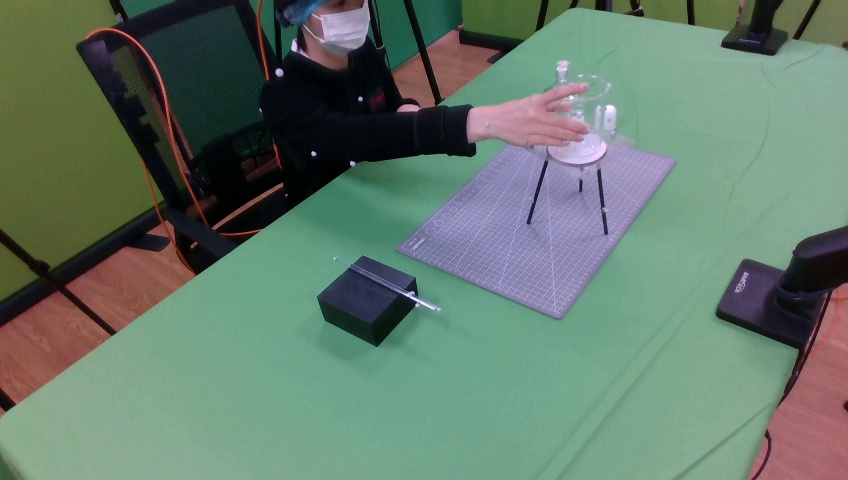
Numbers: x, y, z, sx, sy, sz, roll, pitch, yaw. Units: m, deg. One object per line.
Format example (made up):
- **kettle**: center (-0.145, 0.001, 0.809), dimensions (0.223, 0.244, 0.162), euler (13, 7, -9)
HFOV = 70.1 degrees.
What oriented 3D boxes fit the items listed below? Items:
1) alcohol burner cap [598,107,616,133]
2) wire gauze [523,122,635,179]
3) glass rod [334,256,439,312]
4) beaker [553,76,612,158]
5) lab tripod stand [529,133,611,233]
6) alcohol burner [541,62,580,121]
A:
- **alcohol burner cap**: center (0.361, -0.239, 1.189), dimensions (0.034, 0.048, 0.033), euler (-4, 40, 4)
- **wire gauze**: center (0.233, -0.142, 0.913), dimensions (0.122, 0.011, 0.124), euler (-31, 43, -26)
- **glass rod**: center (-0.058, 0.060, 0.850), dimensions (0.198, 0.008, 0.008), euler (24, 49, 33)
- **beaker**: center (0.229, -0.178, 0.882), dimensions (0.084, 0.101, 0.073), euler (-9, 41, 1)
- **lab tripod stand**: center (0.236, -0.089, 0.953), dimensions (0.148, 0.132, 0.147), euler (-5, 42, 5)
- **alcohol burner**: center (0.277, -0.302, 1.222), dimensions (0.078, 0.119, 0.077), euler (-4, 38, 4)
